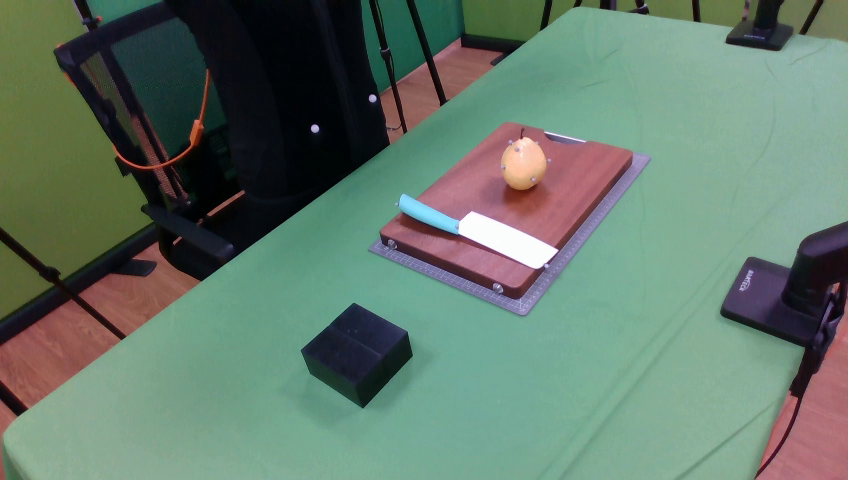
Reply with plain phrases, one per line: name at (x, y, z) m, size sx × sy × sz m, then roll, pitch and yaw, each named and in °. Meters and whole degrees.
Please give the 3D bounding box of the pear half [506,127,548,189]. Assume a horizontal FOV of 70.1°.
pear half at (0.174, -0.145, 1.011) m, size 0.076 × 0.110 × 0.056 m, roll 27°, pitch 52°, yaw 30°

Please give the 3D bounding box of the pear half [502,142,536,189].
pear half at (0.152, -0.119, 1.000) m, size 0.070 × 0.088 × 0.031 m, roll 28°, pitch 54°, yaw 30°

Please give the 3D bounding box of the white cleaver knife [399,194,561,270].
white cleaver knife at (0.079, -0.019, 0.958) m, size 0.284 × 0.021 × 0.066 m, roll 26°, pitch 45°, yaw 28°
